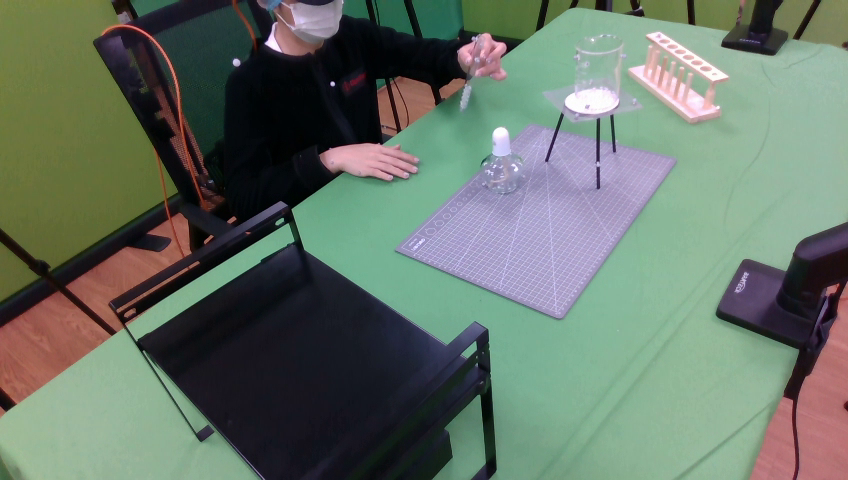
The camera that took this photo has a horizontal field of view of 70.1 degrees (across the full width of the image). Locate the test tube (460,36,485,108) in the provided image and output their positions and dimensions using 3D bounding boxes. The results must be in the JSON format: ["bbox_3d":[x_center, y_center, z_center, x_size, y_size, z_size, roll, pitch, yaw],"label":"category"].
[{"bbox_3d":[0.085,-0.296,1.080,0.017,0.150,0.017,6,52,-7],"label":"test tube"}]

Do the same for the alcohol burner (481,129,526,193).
[{"bbox_3d":[0.138,-0.142,1.052,0.078,0.119,0.077,-5,42,5],"label":"alcohol burner"}]

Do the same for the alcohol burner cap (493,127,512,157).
[{"bbox_3d":[0.132,-0.169,1.030,0.034,0.048,0.033,-6,35,5],"label":"alcohol burner cap"}]

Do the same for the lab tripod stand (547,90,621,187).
[{"bbox_3d":[0.289,-0.184,1.062,0.148,0.132,0.147,-6,41,6],"label":"lab tripod stand"}]

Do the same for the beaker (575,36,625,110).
[{"bbox_3d":[0.283,-0.271,0.988,0.074,0.101,0.083,-10,39,1],"label":"beaker"}]

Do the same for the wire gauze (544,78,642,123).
[{"bbox_3d":[0.282,-0.234,1.021,0.125,0.011,0.120,-17,38,-4],"label":"wire gauze"}]

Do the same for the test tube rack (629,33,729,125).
[{"bbox_3d":[0.516,-0.337,1.247,0.067,0.085,0.240,-14,41,-7],"label":"test tube rack"}]
